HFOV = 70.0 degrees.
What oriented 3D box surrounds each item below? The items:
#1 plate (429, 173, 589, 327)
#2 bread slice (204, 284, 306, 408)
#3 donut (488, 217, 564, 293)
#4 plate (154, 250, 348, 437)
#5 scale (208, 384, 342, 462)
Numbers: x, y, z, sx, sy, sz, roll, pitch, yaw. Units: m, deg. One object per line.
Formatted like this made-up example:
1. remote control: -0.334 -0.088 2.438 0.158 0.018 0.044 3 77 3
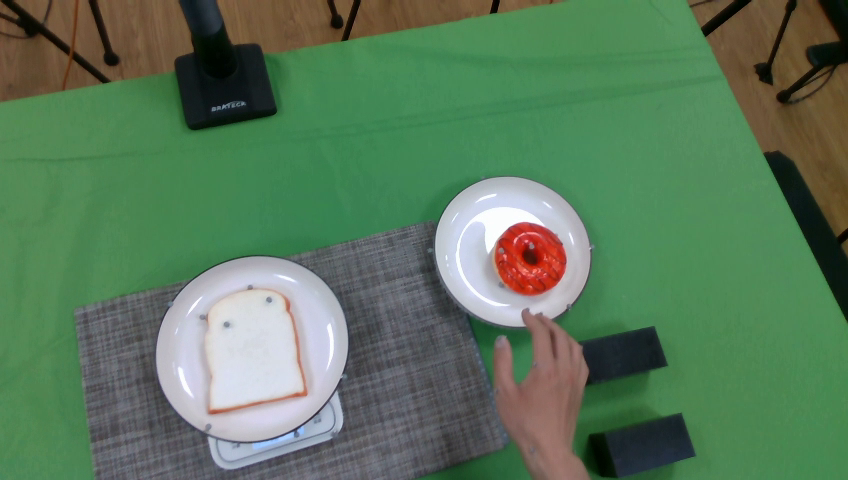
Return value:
1. plate: 0.109 0.014 0.790 0.208 0.039 0.206 2 71 -6
2. bread slice: -0.197 0.115 0.685 0.105 0.019 0.130 -10 73 -11
3. donut: 0.131 0.020 0.778 0.099 0.048 0.098 3 74 -9
4. plate: -0.191 0.115 0.684 0.209 0.038 0.207 2 71 -6
5. scale: -0.188 0.142 0.710 0.149 0.032 0.199 -14 73 -11
